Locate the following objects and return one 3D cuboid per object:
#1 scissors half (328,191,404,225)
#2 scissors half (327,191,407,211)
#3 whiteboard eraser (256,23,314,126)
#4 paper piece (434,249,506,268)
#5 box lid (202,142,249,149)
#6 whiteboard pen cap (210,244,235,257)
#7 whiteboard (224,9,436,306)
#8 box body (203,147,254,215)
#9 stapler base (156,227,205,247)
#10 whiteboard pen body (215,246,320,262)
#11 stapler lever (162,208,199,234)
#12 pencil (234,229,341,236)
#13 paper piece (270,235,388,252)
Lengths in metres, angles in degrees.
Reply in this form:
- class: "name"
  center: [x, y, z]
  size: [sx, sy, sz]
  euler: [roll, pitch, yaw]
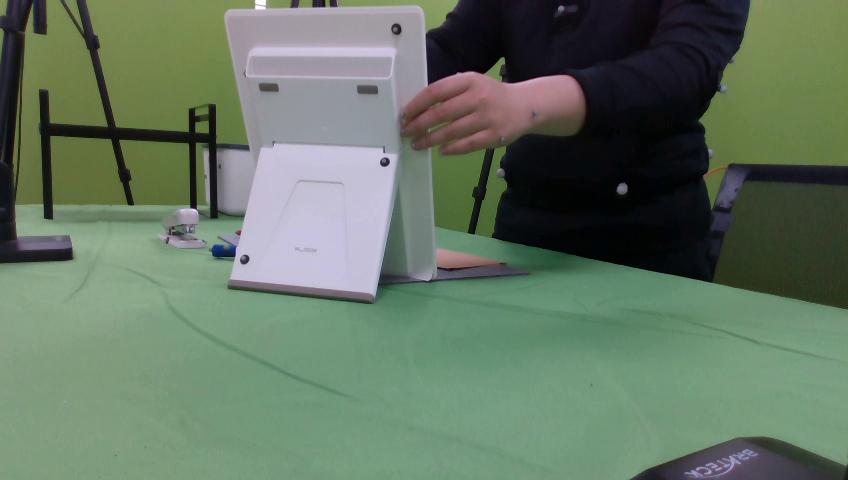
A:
- class: "scissors half"
  center: [-0.128, -0.073, 1.320]
  size: [0.175, 0.040, 0.013]
  euler: [22, 7, -6]
- class: "scissors half"
  center: [-0.123, -0.092, 1.316]
  size: [0.175, 0.040, 0.013]
  euler: [6, 14, -4]
- class: "whiteboard eraser"
  center: [-0.159, -0.186, 0.689]
  size: [0.055, 0.112, 0.042]
  euler: [12, 33, 16]
- class: "paper piece"
  center: [0.025, 0.026, 0.865]
  size: [0.134, 0.004, 0.136]
  euler: [9, 9, 43]
- class: "box lid"
  center: [-0.345, -0.225, 1.509]
  size: [0.373, 0.015, 0.262]
  euler: [-2, 8, -31]
- class: "whiteboard pen cap"
  center: [-0.266, 0.014, 0.806]
  size: [0.033, 0.018, 0.018]
  euler: [2, 7, -1]
- class: "whiteboard"
  center: [-0.117, -0.065, 0.617]
  size: [0.217, 0.305, 0.144]
  euler: [5, 29, 16]
- class: "box body"
  center: [-0.347, -0.152, 1.519]
  size: [0.366, 0.160, 0.253]
  euler: [-2, 9, -31]
- class: "stapler base"
  center: [-0.376, -0.008, 0.935]
  size: [0.041, 0.024, 0.130]
  euler: [0, 6, -38]
- class: "whiteboard pen body"
  center: [-0.208, 0.018, 0.804]
  size: [0.141, 0.017, 0.017]
  euler: [3, 7, 2]
- class: "stapler lever"
  center: [-0.377, -0.032, 0.933]
  size: [0.027, 0.040, 0.117]
  euler: [0, 7, -38]
- class: "pencil"
  center: [-0.232, -0.013, 1.053]
  size: [0.195, 0.012, 0.012]
  euler: [0, 8, -36]
- class: "paper piece"
  center: [-0.151, 0.003, 0.978]
  size: [0.135, 0.008, 0.139]
  euler: [13, 10, 35]
